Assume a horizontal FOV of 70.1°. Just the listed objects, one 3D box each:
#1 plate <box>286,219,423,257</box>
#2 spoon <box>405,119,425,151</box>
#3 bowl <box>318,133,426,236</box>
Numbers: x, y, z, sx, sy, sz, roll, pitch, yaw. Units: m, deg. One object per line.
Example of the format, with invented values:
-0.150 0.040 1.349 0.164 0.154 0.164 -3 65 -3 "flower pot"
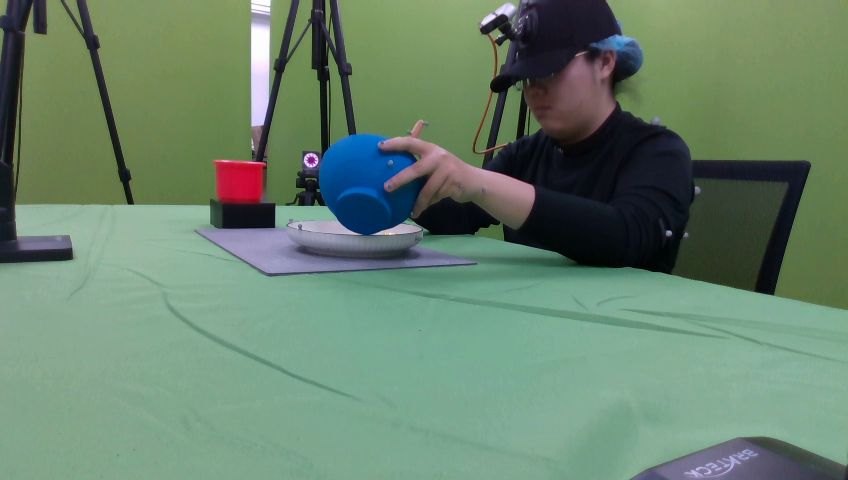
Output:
-0.105 -0.003 0.922 0.208 0.039 0.207 3 7 0 "plate"
-0.043 -0.110 0.910 0.041 0.194 0.022 12 -32 29 "spoon"
-0.076 -0.059 0.810 0.151 0.151 0.076 3 44 7 "bowl"
